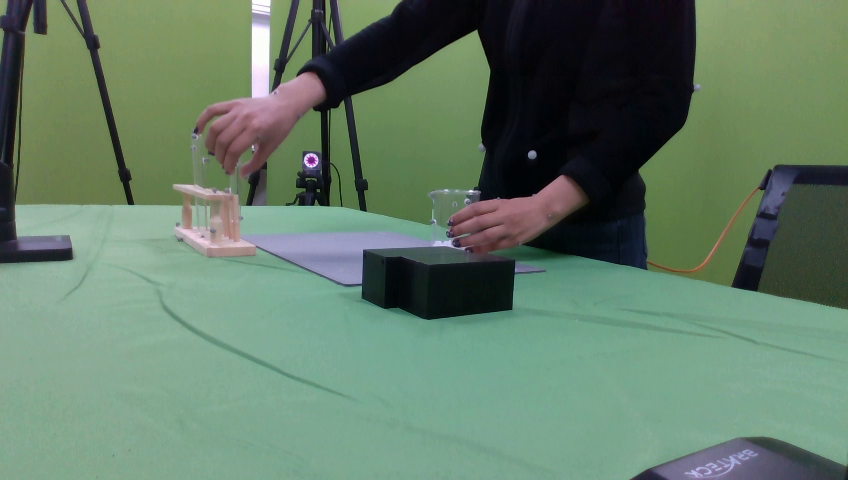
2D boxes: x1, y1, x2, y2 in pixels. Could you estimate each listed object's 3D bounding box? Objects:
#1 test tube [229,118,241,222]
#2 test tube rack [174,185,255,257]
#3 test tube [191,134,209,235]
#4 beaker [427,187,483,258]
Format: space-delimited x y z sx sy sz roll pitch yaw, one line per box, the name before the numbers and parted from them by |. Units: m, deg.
test tube | -0.272 -0.101 0.871 0.017 0.150 0.017 0 0 0
test tube rack | -0.324 -0.035 0.922 0.067 0.085 0.241 -2 9 -31
test tube | -0.332 -0.082 0.897 0.017 0.150 0.017 -2 6 0
beaker | 0.044 -0.026 0.894 0.084 0.100 0.073 -1 7 -17
